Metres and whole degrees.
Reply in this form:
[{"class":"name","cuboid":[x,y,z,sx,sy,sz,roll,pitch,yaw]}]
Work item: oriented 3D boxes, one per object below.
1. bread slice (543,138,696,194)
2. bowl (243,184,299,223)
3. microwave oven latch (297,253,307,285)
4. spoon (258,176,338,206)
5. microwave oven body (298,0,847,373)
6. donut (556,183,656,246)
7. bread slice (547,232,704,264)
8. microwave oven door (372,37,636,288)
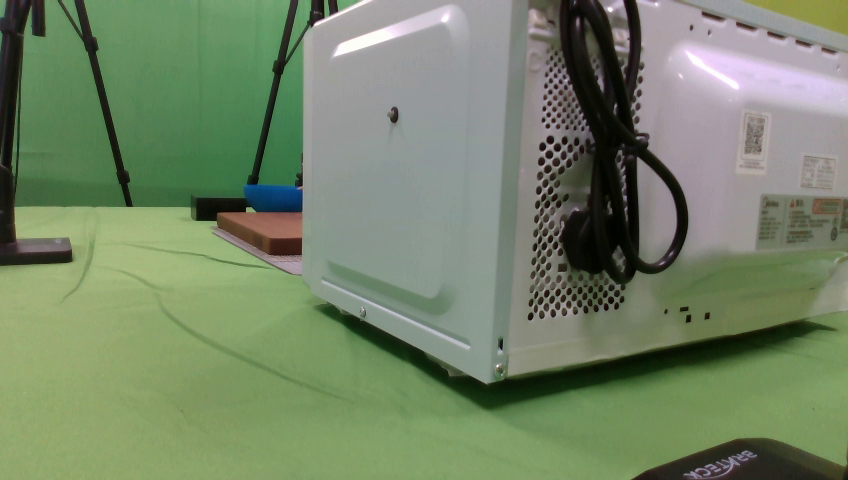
[{"class":"bread slice","cuboid":[0.201,-0.074,0.607,0.133,0.018,0.107,26,18,38]},{"class":"bowl","cuboid":[-0.321,-0.081,1.334,0.151,0.077,0.151,3,7,0]},{"class":"microwave oven latch","cuboid":[-0.082,0.027,0.582,0.079,0.029,0.030,-1,7,-32]},{"class":"spoon","cuboid":[-0.279,-0.112,1.356,0.194,0.021,0.041,-27,19,-27]},{"class":"microwave oven body","cuboid":[0.151,-0.055,0.543,0.444,0.260,0.324,-1,7,-33]},{"class":"donut","cuboid":[0.183,-0.027,0.611,0.099,0.048,0.099,12,-12,3]},{"class":"bread slice","cuboid":[0.201,0.009,0.588,0.105,0.019,0.131,8,-7,-25]},{"class":"microwave oven door","cuboid":[0.110,-0.080,0.686,0.358,0.243,0.039,-2,9,-33]}]
